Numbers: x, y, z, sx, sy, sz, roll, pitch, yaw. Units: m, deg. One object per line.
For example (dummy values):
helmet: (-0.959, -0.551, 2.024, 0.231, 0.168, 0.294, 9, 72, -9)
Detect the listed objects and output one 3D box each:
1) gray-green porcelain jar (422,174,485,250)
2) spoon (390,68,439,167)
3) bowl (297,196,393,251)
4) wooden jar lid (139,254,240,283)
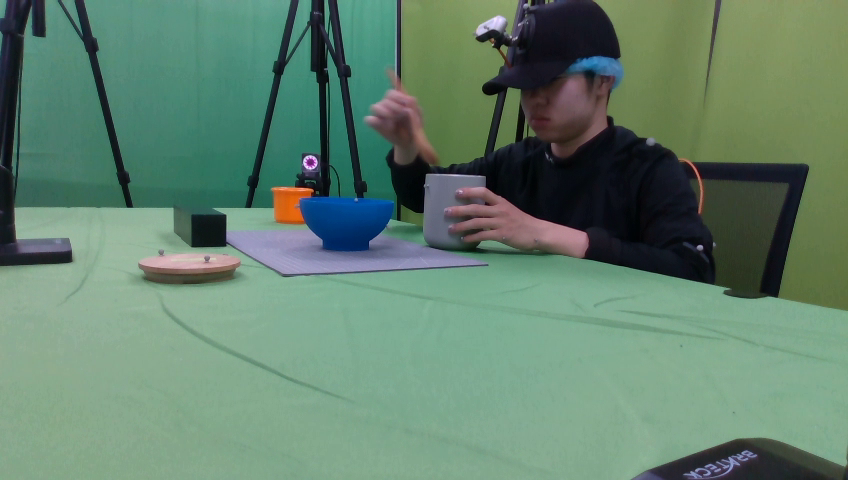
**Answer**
gray-green porcelain jar: (0.050, -0.049, 1.040, 0.106, 0.126, 0.106, 2, 8, 0)
spoon: (-0.018, -0.210, 1.027, 0.022, 0.193, 0.041, -16, -14, -16)
bowl: (-0.125, -0.026, 0.957, 0.151, 0.077, 0.151, 2, 7, 0)
wooden jar lid: (-0.269, 0.032, 0.697, 0.108, 0.020, 0.108, 2, 5, 0)
